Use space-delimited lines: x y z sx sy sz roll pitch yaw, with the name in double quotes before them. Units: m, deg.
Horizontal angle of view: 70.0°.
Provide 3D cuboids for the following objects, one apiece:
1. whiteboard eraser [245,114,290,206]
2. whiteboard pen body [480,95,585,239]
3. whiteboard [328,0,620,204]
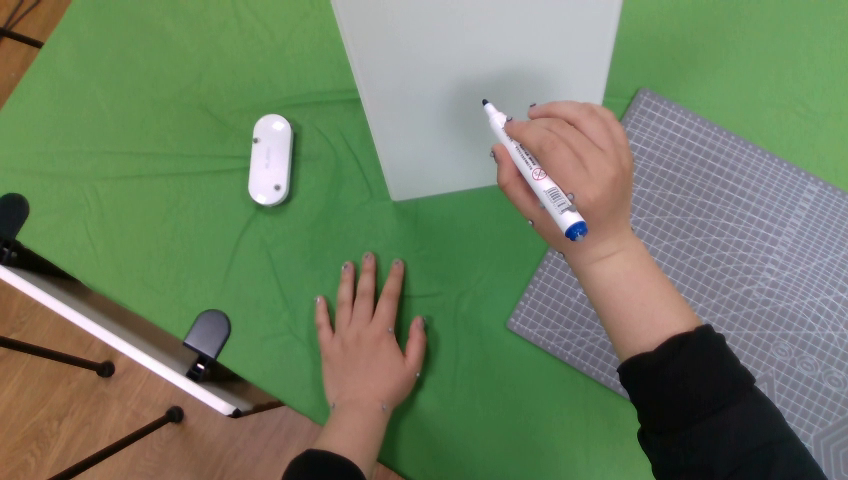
"whiteboard eraser" -0.170 -0.088 0.660 0.041 0.019 0.101 2 82 2
"whiteboard pen body" 0.071 -0.057 0.423 0.017 0.017 0.139 -27 59 -1
"whiteboard" 0.043 -0.191 0.554 0.217 0.308 0.142 -9 61 2
